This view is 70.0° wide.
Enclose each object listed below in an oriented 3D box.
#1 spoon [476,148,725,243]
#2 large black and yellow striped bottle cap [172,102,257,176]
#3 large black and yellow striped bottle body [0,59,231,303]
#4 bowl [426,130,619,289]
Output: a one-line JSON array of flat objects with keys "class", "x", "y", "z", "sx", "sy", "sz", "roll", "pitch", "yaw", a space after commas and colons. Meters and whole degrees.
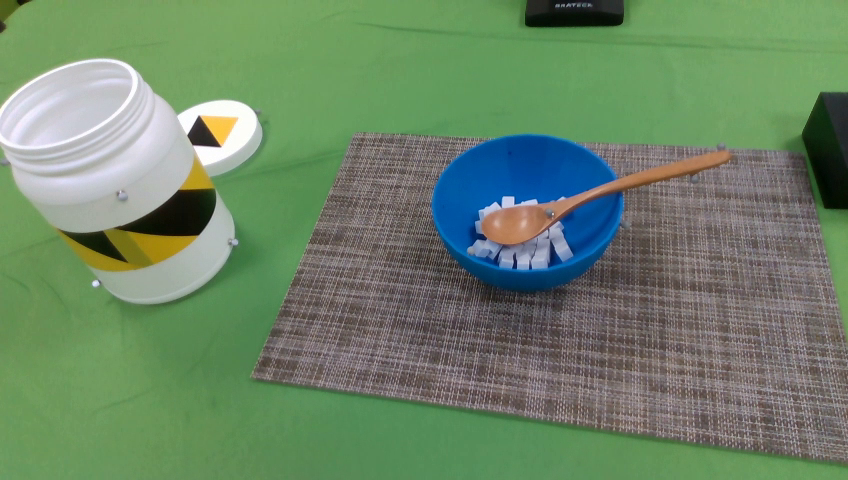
[{"class": "spoon", "x": 0.134, "y": -0.037, "z": 0.473, "sx": 0.193, "sy": 0.022, "sz": 0.041, "roll": -19, "pitch": 46, "yaw": 17}, {"class": "large black and yellow striped bottle cap", "x": -0.248, "y": -0.115, "z": 0.685, "sx": 0.115, "sy": 0.019, "sz": 0.114, "roll": -3, "pitch": 51, "yaw": 4}, {"class": "large black and yellow striped bottle body", "x": -0.259, "y": -0.046, "z": 0.520, "sx": 0.130, "sy": 0.186, "sz": 0.129, "roll": -4, "pitch": 50, "yaw": 5}, {"class": "bowl", "x": 0.080, "y": -0.013, "z": 0.506, "sx": 0.151, "sy": 0.077, "sz": 0.150, "roll": -4, "pitch": 51, "yaw": 5}]
